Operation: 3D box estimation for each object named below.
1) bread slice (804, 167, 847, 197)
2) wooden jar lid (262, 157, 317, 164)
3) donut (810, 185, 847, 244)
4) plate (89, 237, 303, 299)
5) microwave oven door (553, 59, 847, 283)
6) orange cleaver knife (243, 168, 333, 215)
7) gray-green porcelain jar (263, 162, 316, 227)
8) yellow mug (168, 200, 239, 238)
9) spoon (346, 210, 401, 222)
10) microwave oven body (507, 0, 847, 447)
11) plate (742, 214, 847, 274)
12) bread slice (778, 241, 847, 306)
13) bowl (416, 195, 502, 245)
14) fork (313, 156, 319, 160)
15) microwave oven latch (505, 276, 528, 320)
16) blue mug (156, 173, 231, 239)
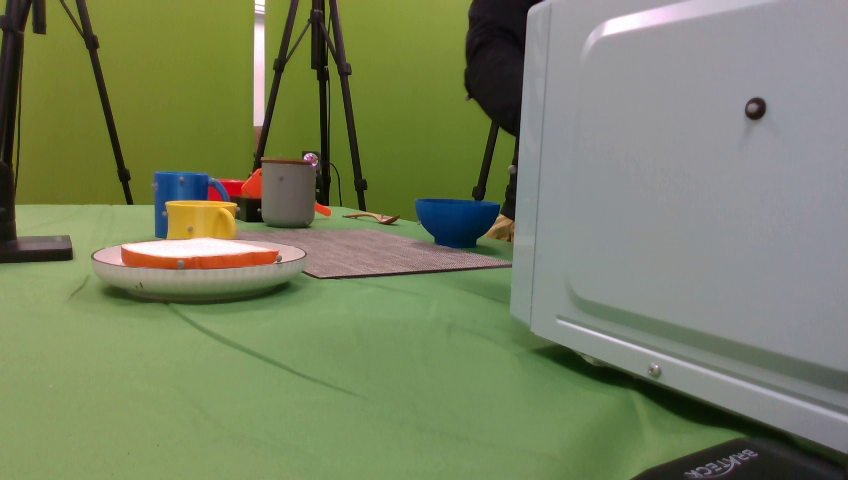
[{"bbox_3d":[0.364,-0.051,0.453,0.135,0.018,0.106,-10,3,-22],"label":"bread slice"},{"bbox_3d":[-0.269,-0.154,1.208,0.108,0.020,0.108,3,4,0],"label":"wooden jar lid"},{"bbox_3d":[0.353,-0.022,0.464,0.099,0.048,0.099,-10,7,2],"label":"donut"},{"bbox_3d":[-0.233,0.029,0.637,0.208,0.039,0.207,2,7,0],"label":"plate"},{"bbox_3d":[0.328,-0.092,0.781,0.039,0.243,0.354,-5,10,-42],"label":"microwave oven door"},{"bbox_3d":[-0.300,-0.089,1.352,0.212,0.077,0.012,29,-9,-34],"label":"orange cleaver knife"},{"bbox_3d":[-0.271,-0.092,1.217,0.106,0.126,0.106,2,7,0],"label":"gray-green porcelain jar"},{"bbox_3d":[-0.320,-0.023,0.904,0.130,0.064,0.100,9,11,36],"label":"yellow mug"},{"bbox_3d":[-0.121,-0.060,1.400,0.042,0.021,0.192,-26,24,-38],"label":"spoon"},{"bbox_3d":[0.331,-0.041,0.425,0.444,0.260,0.324,-2,7,-31],"label":"microwave oven body"},{"bbox_3d":[0.359,0.003,0.463,0.209,0.038,0.209,1,6,0],"label":"plate"},{"bbox_3d":[0.368,0.020,0.474,0.132,0.019,0.104,-19,14,-14],"label":"bread slice"},{"bbox_3d":[0.059,-0.035,1.049,0.151,0.077,0.151,2,7,0],"label":"bowl"},{"bbox_3d":[-0.331,-0.144,1.506,0.207,0.018,0.028,-42,-18,22],"label":"fork"},{"bbox_3d":[0.100,0.042,0.471,0.079,0.029,0.030,-1,7,-28],"label":"microwave oven latch"},{"bbox_3d":[-0.381,-0.057,1.004,0.117,0.106,0.082,0,8,-12],"label":"blue mug"}]
